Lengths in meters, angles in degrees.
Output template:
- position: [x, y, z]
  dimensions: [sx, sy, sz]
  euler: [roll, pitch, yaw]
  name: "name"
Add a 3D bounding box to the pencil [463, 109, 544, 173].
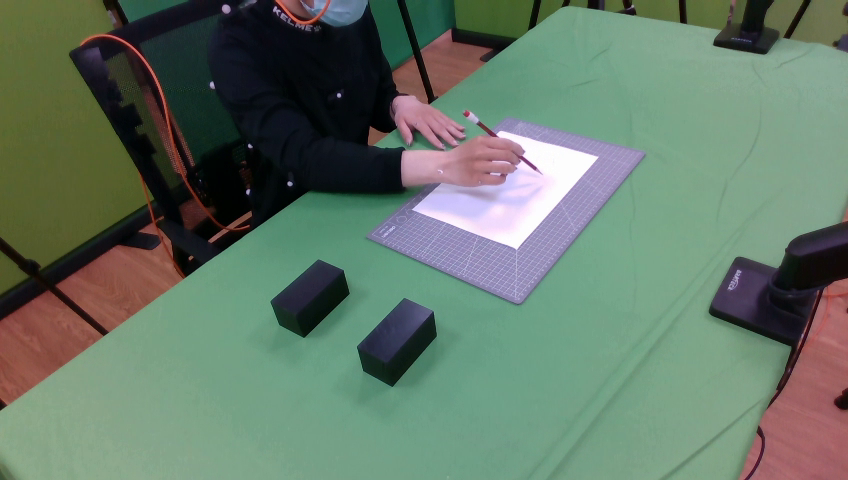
- position: [0.138, -0.164, 1.018]
  dimensions: [0.012, 0.195, 0.012]
  euler: [-37, 35, 33]
  name: "pencil"
